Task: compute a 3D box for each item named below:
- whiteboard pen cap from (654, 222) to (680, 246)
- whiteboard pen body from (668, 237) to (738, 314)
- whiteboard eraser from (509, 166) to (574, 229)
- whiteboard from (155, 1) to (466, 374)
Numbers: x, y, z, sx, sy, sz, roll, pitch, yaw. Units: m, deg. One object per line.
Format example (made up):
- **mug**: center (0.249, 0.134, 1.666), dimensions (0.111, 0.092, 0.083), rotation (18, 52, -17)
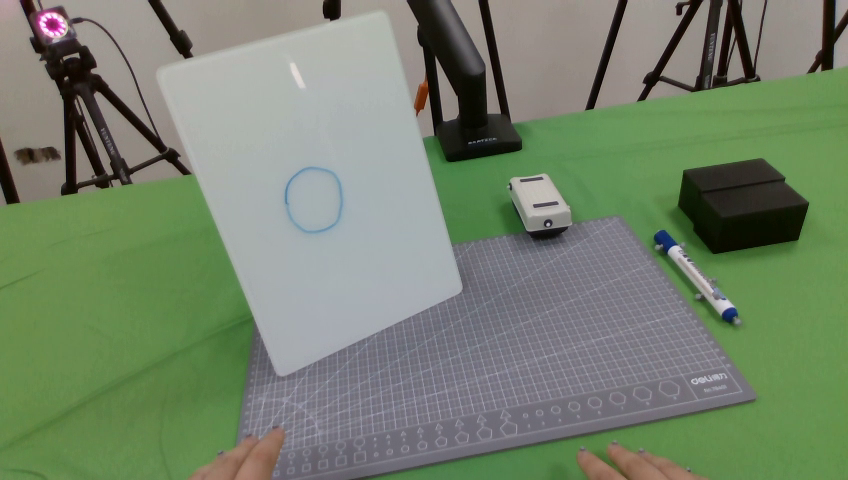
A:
- **whiteboard pen cap**: center (0.278, -0.006, 0.691), dimensions (0.018, 0.018, 0.033), rotation (-11, 35, -5)
- **whiteboard pen body**: center (0.288, 0.029, 0.645), dimensions (0.017, 0.017, 0.139), rotation (-11, 36, -4)
- **whiteboard eraser**: center (0.145, -0.054, 0.760), dimensions (0.055, 0.042, 0.111), rotation (-10, 32, 0)
- **whiteboard**: center (-0.115, -0.060, 0.639), dimensions (0.217, 0.307, 0.142), rotation (-23, 20, -19)
